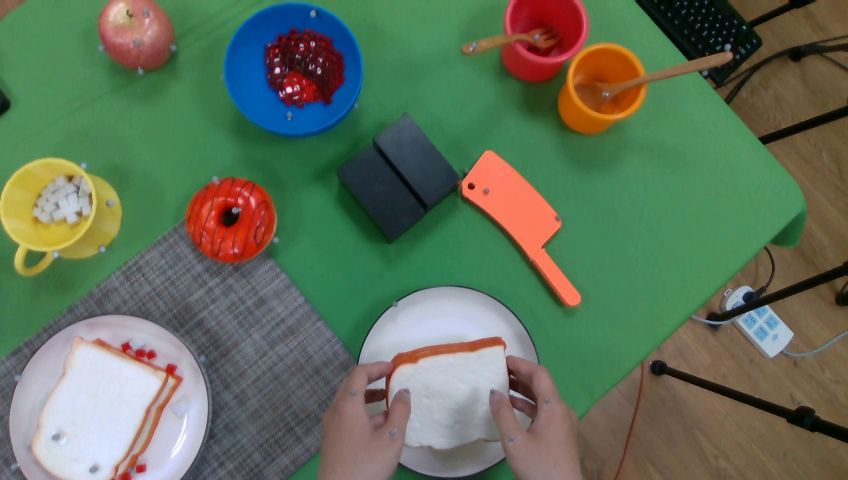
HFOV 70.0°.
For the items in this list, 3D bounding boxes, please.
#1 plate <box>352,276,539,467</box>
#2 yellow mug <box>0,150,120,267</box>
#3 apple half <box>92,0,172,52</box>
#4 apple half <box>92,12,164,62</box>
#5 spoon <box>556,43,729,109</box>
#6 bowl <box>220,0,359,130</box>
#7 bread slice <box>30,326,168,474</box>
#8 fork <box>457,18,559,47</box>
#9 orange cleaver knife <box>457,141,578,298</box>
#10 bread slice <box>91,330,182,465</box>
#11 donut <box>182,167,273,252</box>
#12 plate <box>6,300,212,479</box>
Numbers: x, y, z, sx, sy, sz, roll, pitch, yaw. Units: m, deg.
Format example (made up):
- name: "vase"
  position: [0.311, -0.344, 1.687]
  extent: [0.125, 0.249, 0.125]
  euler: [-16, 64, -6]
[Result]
- name: "plate"
  position: [0.024, 0.144, 0.683]
  extent: [0.209, 0.038, 0.208]
  euler: [1, 83, -4]
- name: "yellow mug"
  position: [-0.406, -0.028, 0.662]
  extent: [0.100, 0.064, 0.130]
  euler: [27, 83, -1]
- name: "apple half"
  position: [-0.326, -0.256, 0.692]
  extent: [0.081, 0.075, 0.053]
  euler: [16, 76, 2]
- name: "apple half"
  position: [-0.336, -0.219, 0.685]
  extent: [0.081, 0.081, 0.032]
  euler: [17, 77, -1]
- name: "spoon"
  position: [0.240, -0.187, 0.684]
  extent: [0.022, 0.193, 0.041]
  euler: [8, 78, -48]
- name: "bowl"
  position: [-0.147, -0.191, 0.693]
  extent: [0.151, 0.077, 0.151]
  euler: [1, 83, -4]
- name: "bread slice"
  position: [-0.338, 0.170, 0.627]
  extent: [0.107, 0.018, 0.134]
  euler: [19, 80, 2]
- name: "fork"
  position: [0.098, -0.233, 0.681]
  extent: [0.207, 0.018, 0.028]
  euler: [-28, 84, -49]
- name: "orange cleaver knife"
  position: [0.123, -0.027, 0.722]
  extent: [0.077, 0.012, 0.211]
  euler: [-39, 85, -14]
- name: "bread slice"
  position: [-0.338, 0.176, 0.654]
  extent: [0.105, 0.019, 0.131]
  euler: [23, 80, -2]
- name: "donut"
  position: [-0.220, -0.034, 0.682]
  extent: [0.099, 0.048, 0.099]
  euler: [1, 83, -4]
- name: "plate"
  position: [-0.331, 0.169, 0.652]
  extent: [0.208, 0.039, 0.207]
  euler: [1, 83, -4]
